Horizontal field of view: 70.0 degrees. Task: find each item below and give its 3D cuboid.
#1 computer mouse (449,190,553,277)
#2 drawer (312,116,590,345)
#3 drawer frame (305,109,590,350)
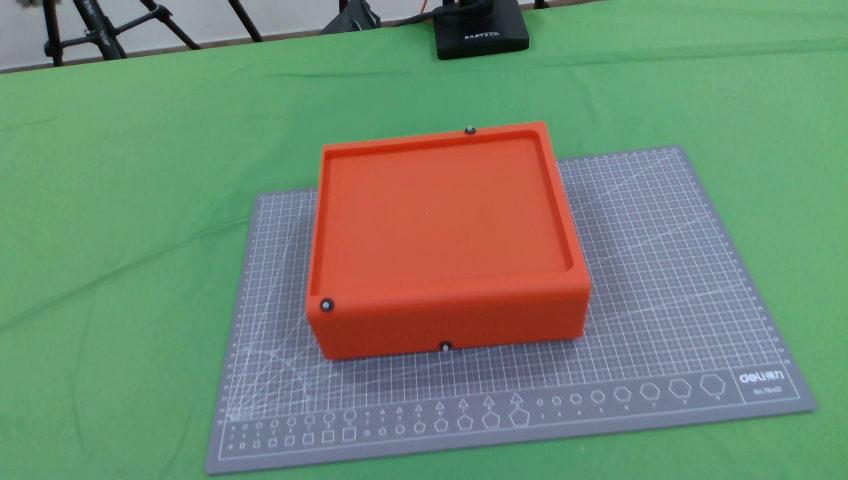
[{"bbox_3d":[0.068,-0.013,0.524,0.062,0.041,0.117,2,33,30],"label":"computer mouse"},{"bbox_3d":[0.019,-0.013,0.528,0.212,0.074,0.192,-6,50,3],"label":"drawer"},{"bbox_3d":[0.017,-0.013,0.526,0.213,0.083,0.199,-7,50,2],"label":"drawer frame"}]
